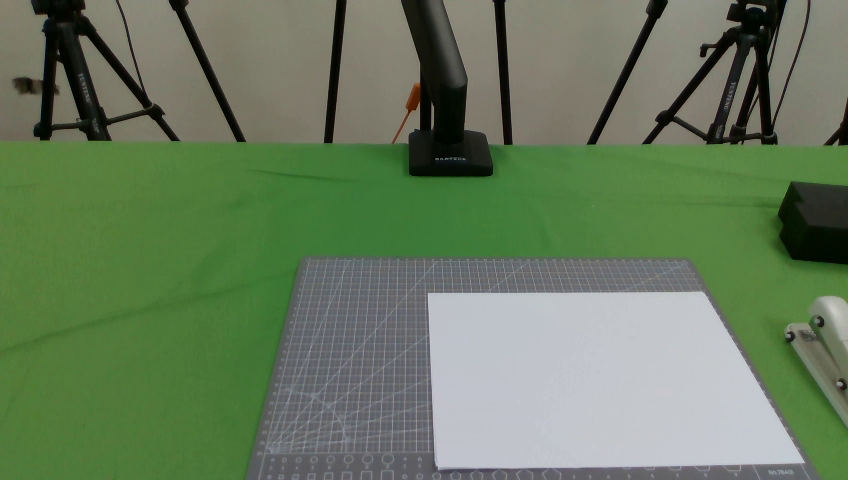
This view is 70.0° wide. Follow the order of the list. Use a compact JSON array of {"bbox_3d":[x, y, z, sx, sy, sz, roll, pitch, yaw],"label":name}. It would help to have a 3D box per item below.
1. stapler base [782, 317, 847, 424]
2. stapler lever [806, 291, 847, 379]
[{"bbox_3d":[0.383,0.114,0.563,0.041,0.024,0.129,-1,38,0],"label":"stapler base"},{"bbox_3d":[0.384,0.094,0.546,0.027,0.040,0.117,-2,39,0],"label":"stapler lever"}]
